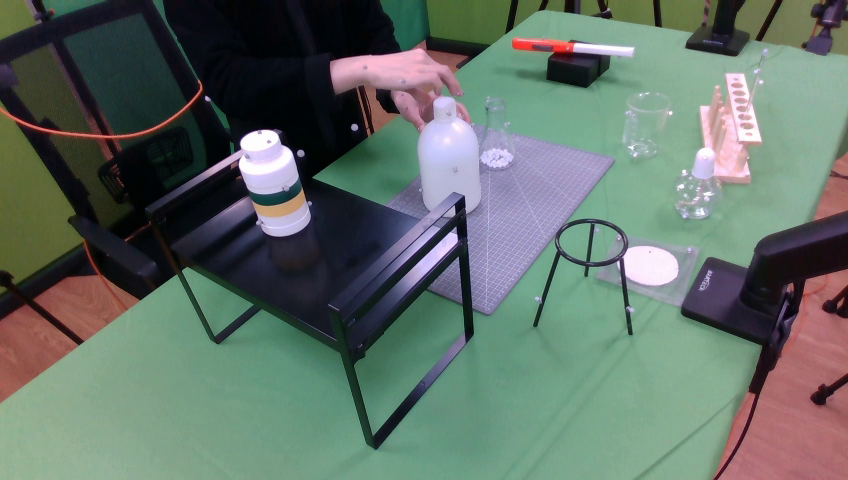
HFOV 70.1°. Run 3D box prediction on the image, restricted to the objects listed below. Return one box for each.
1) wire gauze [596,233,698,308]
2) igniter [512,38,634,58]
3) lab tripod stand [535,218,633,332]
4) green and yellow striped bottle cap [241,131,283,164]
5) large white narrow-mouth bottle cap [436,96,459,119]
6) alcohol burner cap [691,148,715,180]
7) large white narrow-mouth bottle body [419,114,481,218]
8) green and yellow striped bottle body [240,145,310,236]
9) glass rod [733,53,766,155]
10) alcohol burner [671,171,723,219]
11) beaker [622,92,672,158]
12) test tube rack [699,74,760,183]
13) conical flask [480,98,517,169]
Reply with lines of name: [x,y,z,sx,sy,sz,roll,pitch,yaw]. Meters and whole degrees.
wire gauze: [0.331,0.038,0.897,0.124,0.011,0.121,18,47,26]
igniter: [0.328,-0.433,1.360,0.275,0.025,0.057,12,33,20]
lab tripod stand: [0.215,0.050,0.803,0.148,0.132,0.147,-4,42,4]
green and yellow striped bottle cap: [-0.187,-0.107,0.695,0.045,0.020,0.045,-3,39,3]
large white narrow-mouth bottle cap: [0.037,-0.207,0.942,0.038,0.024,0.037,-3,38,3]
alcohol burner cap: [0.432,-0.120,0.930,0.034,0.048,0.033,-7,48,8]
large white narrow-mouth bottle body: [0.042,-0.138,0.998,0.102,0.195,0.101,-3,39,3]
green and yellow striped bottle body: [-0.181,-0.068,0.729,0.063,0.120,0.063,-4,40,4]
glass rod: [0.540,-0.219,1.006,0.008,0.201,0.008,-5,45,6]
alcohol burner: [0.434,-0.093,0.955,0.078,0.119,0.077,-3,43,4]
beaker: [0.402,-0.210,1.106,0.074,0.101,0.083,-8,40,-2]
test tube rack: [0.547,-0.208,1.095,0.066,0.085,0.242,6,42,16]
conical flask: [0.133,-0.198,1.108,0.075,0.122,0.075,-4,41,4]
